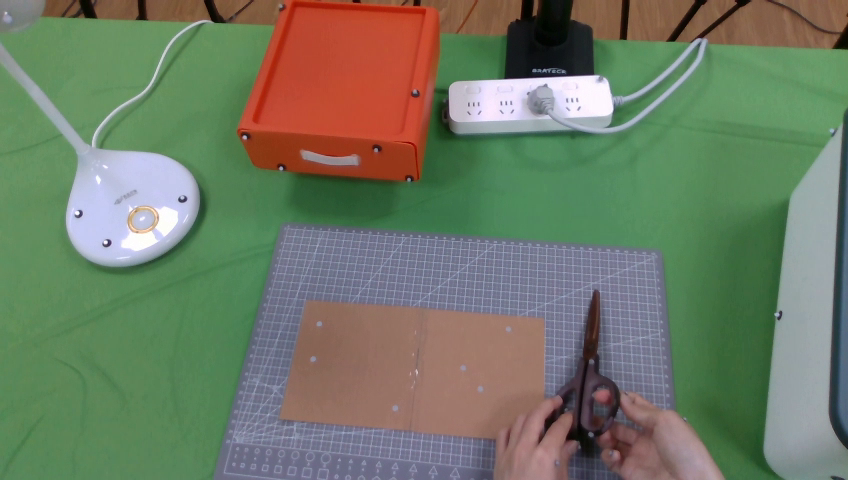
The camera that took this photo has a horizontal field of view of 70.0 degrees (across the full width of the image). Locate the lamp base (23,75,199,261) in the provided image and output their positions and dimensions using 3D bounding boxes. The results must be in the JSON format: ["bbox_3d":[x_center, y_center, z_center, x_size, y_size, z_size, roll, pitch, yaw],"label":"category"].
[{"bbox_3d":[-0.371,-0.089,0.680,0.178,0.182,0.160,35,68,23],"label":"lamp base"}]

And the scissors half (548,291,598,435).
[{"bbox_3d":[0.161,0.121,0.630,0.013,0.040,0.174,41,55,-22],"label":"scissors half"}]

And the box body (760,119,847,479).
[{"bbox_3d":[0.481,0.073,0.563,0.253,0.162,0.362,17,64,11],"label":"box body"}]

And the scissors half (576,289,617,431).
[{"bbox_3d":[0.174,0.114,0.616,0.040,0.013,0.173,-27,31,33],"label":"scissors half"}]

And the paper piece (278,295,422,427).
[{"bbox_3d":[-0.076,0.125,0.647,0.136,0.009,0.137,3,63,8],"label":"paper piece"}]

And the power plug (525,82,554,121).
[{"bbox_3d":[0.143,-0.165,0.757,0.035,0.053,0.072,9,62,7],"label":"power plug"}]

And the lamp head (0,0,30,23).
[{"bbox_3d":[-0.336,-0.221,0.420,0.124,0.112,0.112,44,66,-18],"label":"lamp head"}]

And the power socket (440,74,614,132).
[{"bbox_3d":[0.134,-0.179,0.791,0.227,0.033,0.071,-1,62,2],"label":"power socket"}]

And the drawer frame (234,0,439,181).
[{"bbox_3d":[-0.094,-0.185,0.726,0.201,0.083,0.212,5,61,6],"label":"drawer frame"}]

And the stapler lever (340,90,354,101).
[{"bbox_3d":[-0.119,-0.171,0.712,0.117,0.040,0.027,33,84,23],"label":"stapler lever"}]

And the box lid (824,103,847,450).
[{"bbox_3d":[0.477,0.038,0.498,0.262,0.015,0.369,17,63,11],"label":"box lid"}]

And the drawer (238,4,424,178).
[{"bbox_3d":[-0.093,-0.183,0.725,0.194,0.074,0.210,5,61,6],"label":"drawer"}]

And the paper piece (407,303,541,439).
[{"bbox_3d":[0.055,0.134,0.635,0.135,0.004,0.134,5,62,5],"label":"paper piece"}]

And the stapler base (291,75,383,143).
[{"bbox_3d":[-0.110,-0.164,0.736,0.129,0.024,0.041,33,84,21],"label":"stapler base"}]
